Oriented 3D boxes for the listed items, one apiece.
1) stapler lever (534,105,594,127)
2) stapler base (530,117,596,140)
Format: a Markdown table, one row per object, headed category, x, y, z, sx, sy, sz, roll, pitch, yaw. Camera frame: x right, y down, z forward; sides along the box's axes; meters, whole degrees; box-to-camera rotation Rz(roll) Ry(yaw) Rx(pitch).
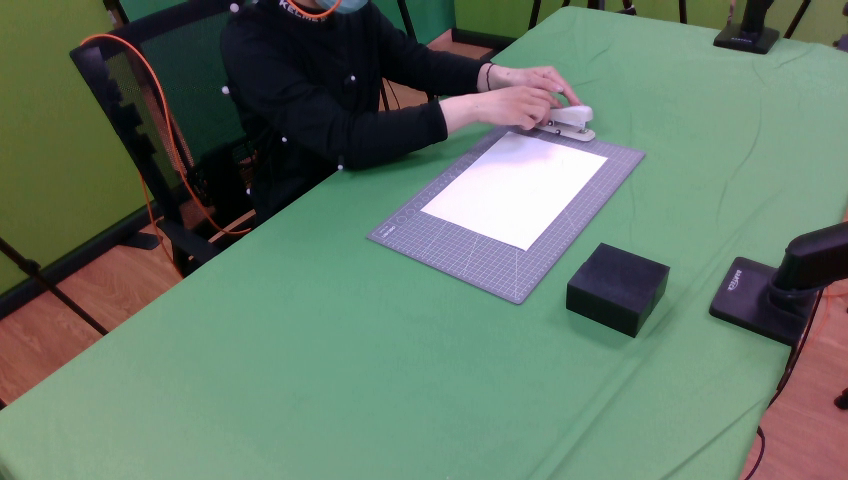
| category | x | y | z | sx | sy | sz | roll | pitch | yaw |
| --- | --- | --- | --- | --- | --- | --- | --- | --- | --- |
| stapler lever | 0.273 | -0.249 | 1.176 | 0.117 | 0.040 | 0.027 | 22 | 38 | 32 |
| stapler base | 0.275 | -0.227 | 1.189 | 0.129 | 0.024 | 0.041 | 22 | 37 | 32 |
